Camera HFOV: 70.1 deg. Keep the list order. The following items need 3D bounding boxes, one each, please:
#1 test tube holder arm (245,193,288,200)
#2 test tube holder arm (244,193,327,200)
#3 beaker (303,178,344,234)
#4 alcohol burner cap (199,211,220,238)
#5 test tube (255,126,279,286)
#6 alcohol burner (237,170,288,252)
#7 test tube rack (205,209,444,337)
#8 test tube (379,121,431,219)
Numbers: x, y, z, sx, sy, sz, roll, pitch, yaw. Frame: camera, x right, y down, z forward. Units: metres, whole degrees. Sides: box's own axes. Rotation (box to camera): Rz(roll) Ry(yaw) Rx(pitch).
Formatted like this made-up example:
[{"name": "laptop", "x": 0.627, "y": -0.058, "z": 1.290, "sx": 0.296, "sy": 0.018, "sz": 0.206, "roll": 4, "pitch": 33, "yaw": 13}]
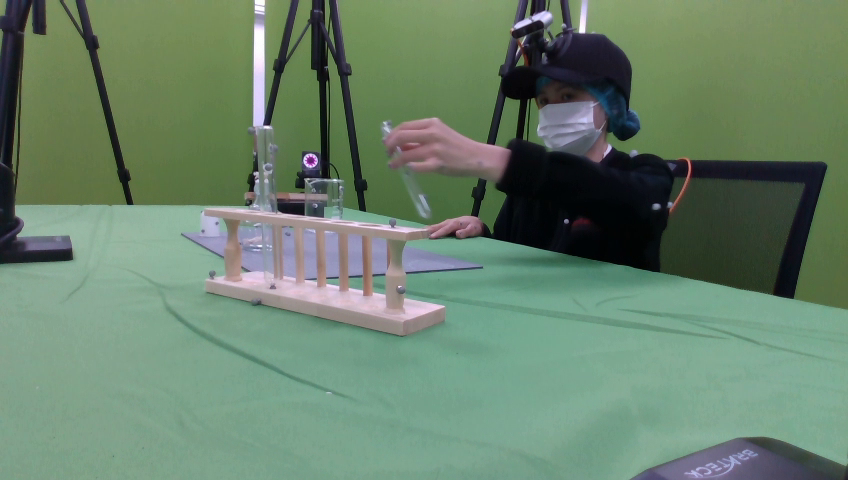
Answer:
[{"name": "test tube holder arm", "x": -0.317, "y": -0.088, "z": 1.226, "sx": 0.088, "sy": 0.015, "sz": 0.010, "roll": -3, "pitch": 0, "yaw": -37}, {"name": "test tube holder arm", "x": -0.284, "y": -0.090, "z": 1.258, "sx": 0.179, "sy": 0.015, "sz": 0.013, "roll": -3, "pitch": 0, "yaw": -37}, {"name": "beaker", "x": -0.189, "y": -0.063, "z": 1.119, "sx": 0.073, "sy": 0.100, "sz": 0.084, "roll": 6, "pitch": 9, "yaw": 28}, {"name": "alcohol burner cap", "x": -0.356, "y": -0.027, "z": 1.002, "sx": 0.034, "sy": 0.048, "sz": 0.034, "roll": 2, "pitch": 7, "yaw": 0}, {"name": "test tube", "x": -0.147, "y": -0.031, "z": 0.567, "sx": 0.017, "sy": 0.150, "sz": 0.017, "roll": -1, "pitch": 8, "yaw": 0}, {"name": "alcohol burner", "x": -0.236, "y": -0.042, "z": 0.882, "sx": 0.078, "sy": 0.119, "sz": 0.078, "roll": 2, "pitch": 9, "yaw": 0}, {"name": "test tube rack", "x": -0.100, "y": 0.021, "z": 0.565, "sx": 0.241, "sy": 0.085, "sz": 0.067, "roll": 7, "pitch": 8, "yaw": 32}, {"name": "test tube", "x": -0.026, "y": -0.095, "z": 0.820, "sx": 0.017, "sy": 0.150, "sz": 0.017, "roll": -23, "pitch": -12, "yaw": -5}]
